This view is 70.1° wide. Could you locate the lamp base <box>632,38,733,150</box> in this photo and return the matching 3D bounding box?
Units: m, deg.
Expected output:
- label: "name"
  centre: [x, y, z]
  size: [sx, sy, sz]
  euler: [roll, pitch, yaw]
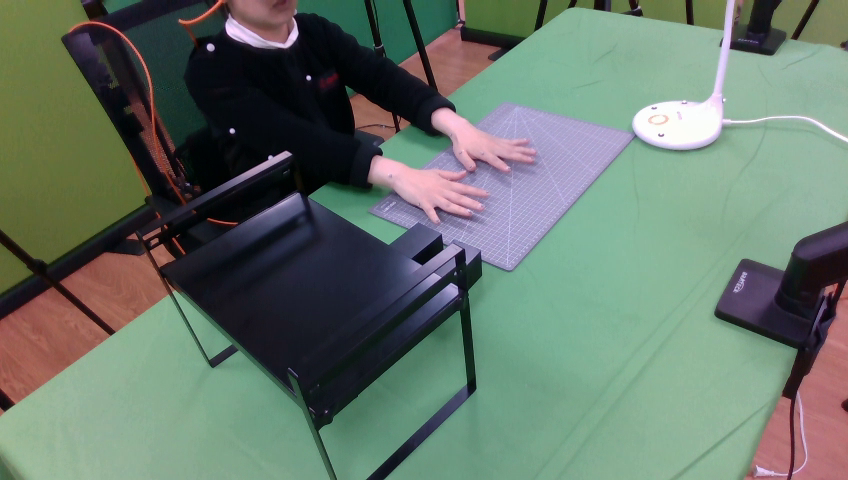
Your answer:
- label: "lamp base"
  centre: [0.486, -0.280, 1.108]
  size: [0.179, 0.181, 0.159]
  euler: [-5, 41, -1]
